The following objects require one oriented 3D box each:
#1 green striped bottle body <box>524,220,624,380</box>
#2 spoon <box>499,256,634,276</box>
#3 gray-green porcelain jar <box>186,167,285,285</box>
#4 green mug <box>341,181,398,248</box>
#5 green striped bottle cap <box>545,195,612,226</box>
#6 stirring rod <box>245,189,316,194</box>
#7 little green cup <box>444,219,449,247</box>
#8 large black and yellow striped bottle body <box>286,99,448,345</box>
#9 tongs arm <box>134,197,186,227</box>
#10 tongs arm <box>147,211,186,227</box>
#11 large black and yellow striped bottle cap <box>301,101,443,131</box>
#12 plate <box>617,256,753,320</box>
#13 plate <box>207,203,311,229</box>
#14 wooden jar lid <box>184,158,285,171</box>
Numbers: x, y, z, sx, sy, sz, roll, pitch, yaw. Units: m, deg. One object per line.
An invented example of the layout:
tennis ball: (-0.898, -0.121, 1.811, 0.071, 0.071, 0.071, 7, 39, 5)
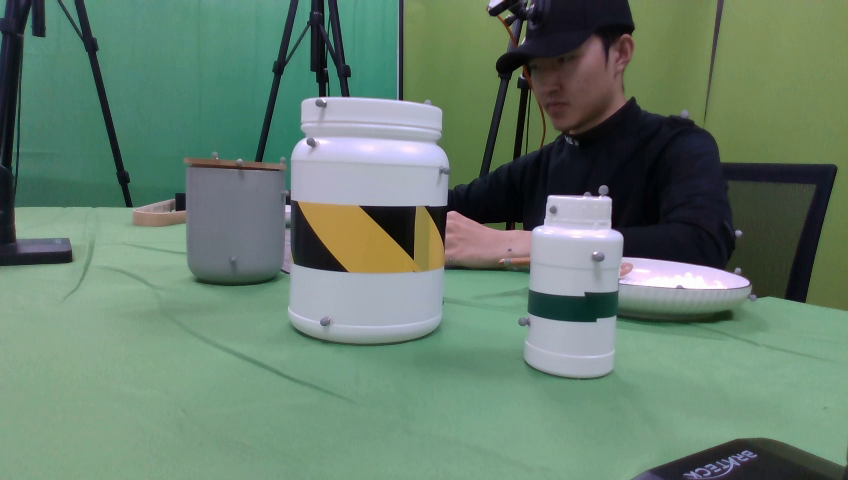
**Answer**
green striped bottle body: (0.104, 0.031, 0.422, 0.063, 0.119, 0.063, 2, 8, 0)
spoon: (0.162, 0.027, 0.679, 0.195, 0.021, 0.041, 8, 2, -30)
gray-green porcelain jar: (-0.212, -0.017, 0.682, 0.106, 0.126, 0.106, 2, 7, 0)
green mug: (-0.090, -0.044, 0.997, 0.093, 0.105, 0.125, 1, 7, -8)
green striped bottle cap: (0.106, -0.020, 0.414, 0.044, 0.020, 0.044, 2, 4, 0)
stirring rod: (-0.351, -0.120, 1.489, 0.177, 0.014, 0.006, -2, 5, -29)
little green cup: (0.009, -0.006, 0.923, 0.061, 0.038, 0.061, -15, 7, 2)
large black and yellow striped bottle body: (-0.047, -0.018, 0.501, 0.131, 0.184, 0.130, 2, 7, 0)
tongs arm: (-0.556, -0.066, 1.320, 0.051, 0.026, 0.384, 7, 7, -5)
tongs arm: (-0.478, -0.059, 1.322, 0.028, 0.028, 0.388, 12, 8, 7)
large black and yellow striped bottle cap: (-0.042, -0.100, 0.491, 0.115, 0.019, 0.115, 1, 8, 0)
plate: (0.234, 0.049, 0.651, 0.209, 0.038, 0.209, 2, 7, 0)
plate: (-0.342, -0.050, 1.259, 0.208, 0.039, 0.207, 2, 7, 0)
wooden jar lid: (-0.210, -0.078, 0.674, 0.108, 0.020, 0.108, 5, 6, 0)
